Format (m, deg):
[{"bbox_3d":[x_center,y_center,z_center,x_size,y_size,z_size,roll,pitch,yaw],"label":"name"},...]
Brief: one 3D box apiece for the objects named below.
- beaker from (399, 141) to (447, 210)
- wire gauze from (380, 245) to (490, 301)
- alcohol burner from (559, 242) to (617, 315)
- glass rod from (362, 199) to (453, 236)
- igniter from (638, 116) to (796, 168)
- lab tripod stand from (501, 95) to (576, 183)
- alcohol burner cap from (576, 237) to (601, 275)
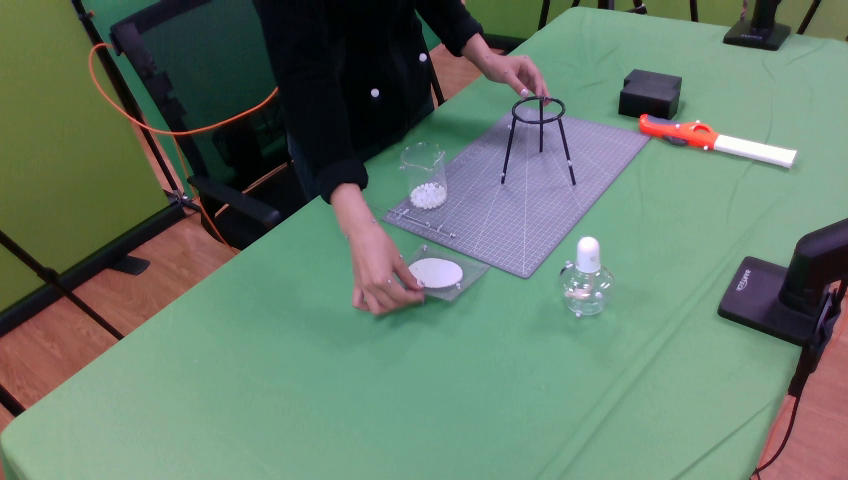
[{"bbox_3d":[0.003,-0.108,1.043,0.074,0.101,0.083,-19,42,-10],"label":"beaker"},{"bbox_3d":[0.019,0.049,0.908,0.120,0.011,0.125,17,32,26],"label":"wire gauze"},{"bbox_3d":[0.222,0.045,0.816,0.078,0.119,0.077,-4,42,4],"label":"alcohol burner"},{"bbox_3d":[-0.032,-0.041,1.040,0.198,0.008,0.008,22,50,31],"label":"glass rod"},{"bbox_3d":[0.517,-0.181,1.093,0.274,0.025,0.057,23,65,32],"label":"igniter"},{"bbox_3d":[0.204,-0.174,1.057,0.148,0.132,0.147,-4,40,4],"label":"lab tripod stand"},{"bbox_3d":[0.216,0.018,0.792,0.034,0.048,0.033,-7,35,5],"label":"alcohol burner cap"}]
